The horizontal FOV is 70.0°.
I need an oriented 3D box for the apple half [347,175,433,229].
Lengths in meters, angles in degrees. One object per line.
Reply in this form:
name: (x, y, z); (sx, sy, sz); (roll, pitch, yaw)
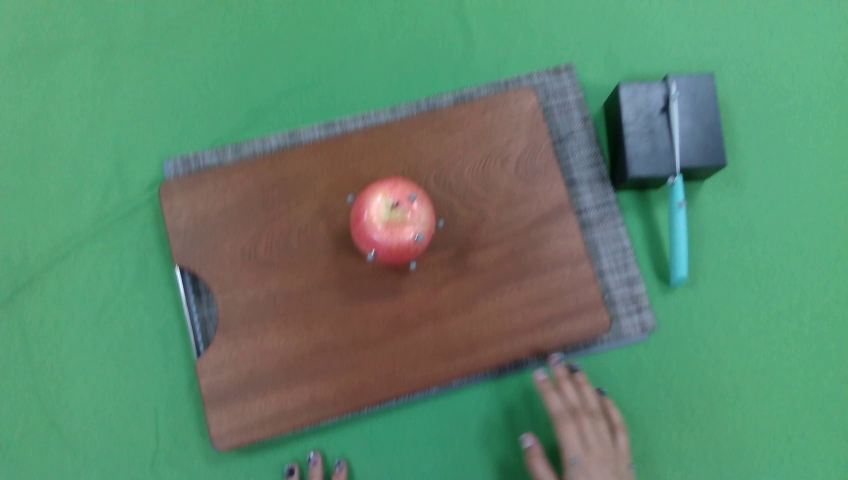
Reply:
apple half: (-0.033, -0.033, 0.578); (0.081, 0.075, 0.053); (-3, 75, 2)

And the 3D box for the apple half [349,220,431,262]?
apple half: (-0.032, 0.006, 0.570); (0.081, 0.081, 0.032); (-2, 75, -2)

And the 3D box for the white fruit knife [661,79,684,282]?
white fruit knife: (0.251, -0.059, 0.619); (0.016, 0.027, 0.207); (-5, 94, -4)
